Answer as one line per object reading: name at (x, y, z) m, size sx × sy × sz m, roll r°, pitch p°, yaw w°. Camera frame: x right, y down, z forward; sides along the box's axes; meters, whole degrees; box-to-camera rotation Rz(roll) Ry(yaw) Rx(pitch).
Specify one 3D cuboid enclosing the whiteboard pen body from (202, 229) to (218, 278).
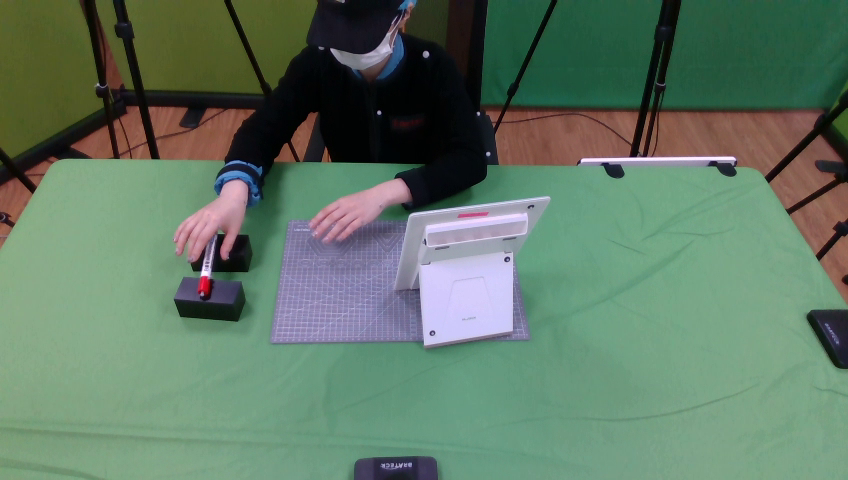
whiteboard pen body at (-0.378, 0.033, 1.068) m, size 0.017 × 0.017 × 0.139 m, roll -3°, pitch 47°, yaw -7°

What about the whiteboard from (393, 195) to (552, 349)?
whiteboard at (0.077, 0.071, 0.977) m, size 0.217 × 0.306 × 0.143 m, roll -7°, pitch 66°, yaw -11°

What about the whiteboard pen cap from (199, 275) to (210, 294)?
whiteboard pen cap at (-0.372, 0.075, 1.030) m, size 0.017 × 0.017 × 0.032 m, roll -4°, pitch 48°, yaw -8°
